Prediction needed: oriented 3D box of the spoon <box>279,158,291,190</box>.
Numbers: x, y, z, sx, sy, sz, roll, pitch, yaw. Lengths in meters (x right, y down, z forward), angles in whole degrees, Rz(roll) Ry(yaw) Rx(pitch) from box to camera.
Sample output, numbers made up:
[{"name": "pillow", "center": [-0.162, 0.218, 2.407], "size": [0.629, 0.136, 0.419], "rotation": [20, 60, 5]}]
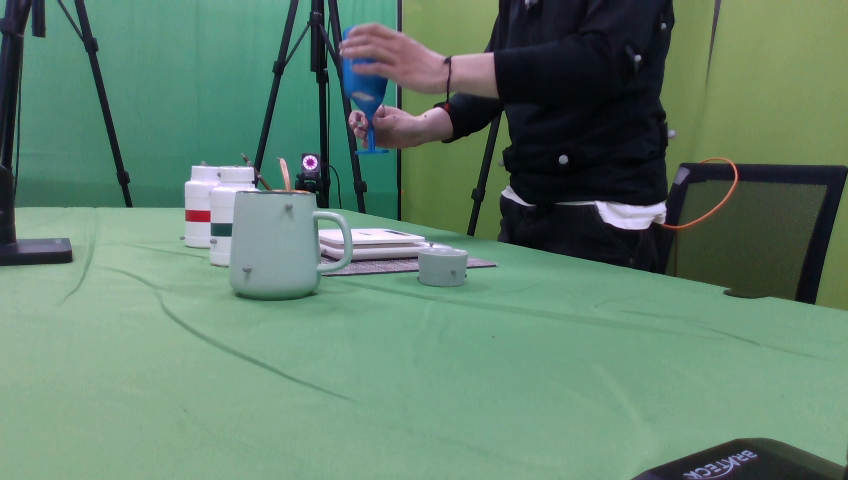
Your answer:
[{"name": "spoon", "center": [-0.281, -0.103, 1.251], "size": [0.042, 0.193, 0.021], "rotation": [8, -41, -31]}]

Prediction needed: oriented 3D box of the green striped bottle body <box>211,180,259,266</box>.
[{"name": "green striped bottle body", "center": [-0.243, -0.029, 0.784], "size": [0.063, 0.119, 0.063], "rotation": [2, 7, 0]}]

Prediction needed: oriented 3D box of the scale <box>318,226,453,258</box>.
[{"name": "scale", "center": [-0.067, 0.001, 0.906], "size": [0.202, 0.031, 0.148], "rotation": [-2, 8, -31]}]

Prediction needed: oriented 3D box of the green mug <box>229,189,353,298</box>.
[{"name": "green mug", "center": [-0.135, 0.002, 0.618], "size": [0.125, 0.105, 0.092], "rotation": [2, 7, 4]}]

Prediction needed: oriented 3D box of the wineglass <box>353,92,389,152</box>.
[{"name": "wineglass", "center": [-0.102, -0.250, 1.111], "size": [0.074, 0.172, 0.073], "rotation": [-4, 8, 1]}]

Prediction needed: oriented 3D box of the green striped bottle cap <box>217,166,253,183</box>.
[{"name": "green striped bottle cap", "center": [-0.242, -0.085, 0.777], "size": [0.044, 0.020, 0.044], "rotation": [2, 9, 0]}]

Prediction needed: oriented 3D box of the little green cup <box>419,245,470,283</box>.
[{"name": "little green cup", "center": [0.023, 0.028, 0.712], "size": [0.061, 0.038, 0.061], "rotation": [1, 6, 0]}]

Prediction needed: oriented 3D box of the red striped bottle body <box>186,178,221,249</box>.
[{"name": "red striped bottle body", "center": [-0.331, -0.049, 0.928], "size": [0.063, 0.119, 0.063], "rotation": [2, 7, 0]}]

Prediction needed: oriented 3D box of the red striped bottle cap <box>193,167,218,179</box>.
[{"name": "red striped bottle cap", "center": [-0.329, -0.103, 0.921], "size": [0.044, 0.017, 0.044], "rotation": [-1, 9, 0]}]

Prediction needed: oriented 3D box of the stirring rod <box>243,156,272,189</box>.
[{"name": "stirring rod", "center": [-0.304, -0.099, 1.201], "size": [0.006, 0.177, 0.014], "rotation": [-27, 37, 7]}]

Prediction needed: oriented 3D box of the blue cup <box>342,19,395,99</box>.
[{"name": "blue cup", "center": [-0.092, -0.283, 0.968], "size": [0.093, 0.100, 0.092], "rotation": [3, -5, 1]}]
